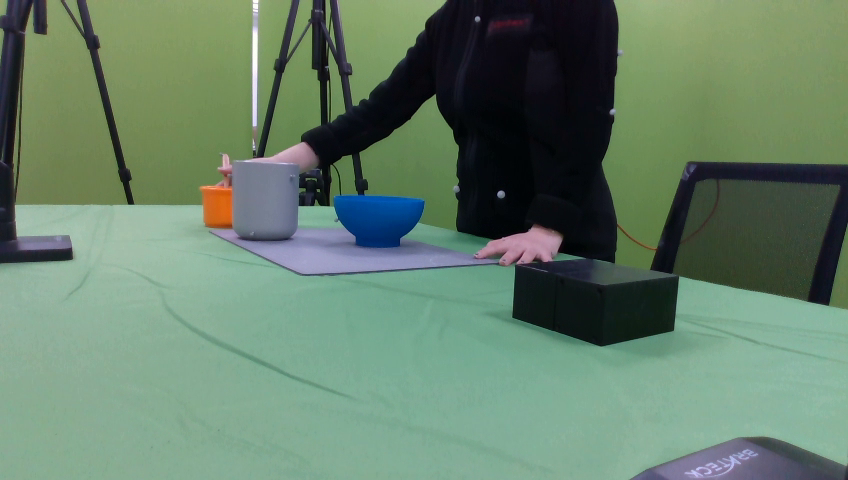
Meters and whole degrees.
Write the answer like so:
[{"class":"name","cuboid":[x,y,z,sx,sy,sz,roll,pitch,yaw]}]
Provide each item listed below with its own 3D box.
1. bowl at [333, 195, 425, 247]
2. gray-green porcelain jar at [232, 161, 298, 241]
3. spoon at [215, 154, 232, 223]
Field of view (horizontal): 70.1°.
[{"class":"bowl","cuboid":[-0.074,-0.031,0.987,0.151,0.077,0.151,2,7,0]},{"class":"gray-green porcelain jar","cuboid":[-0.263,-0.065,0.999,0.106,0.126,0.106,3,7,0]},{"class":"spoon","cuboid":[-0.389,-0.104,1.193,0.042,0.193,0.021,2,-37,-20]}]
